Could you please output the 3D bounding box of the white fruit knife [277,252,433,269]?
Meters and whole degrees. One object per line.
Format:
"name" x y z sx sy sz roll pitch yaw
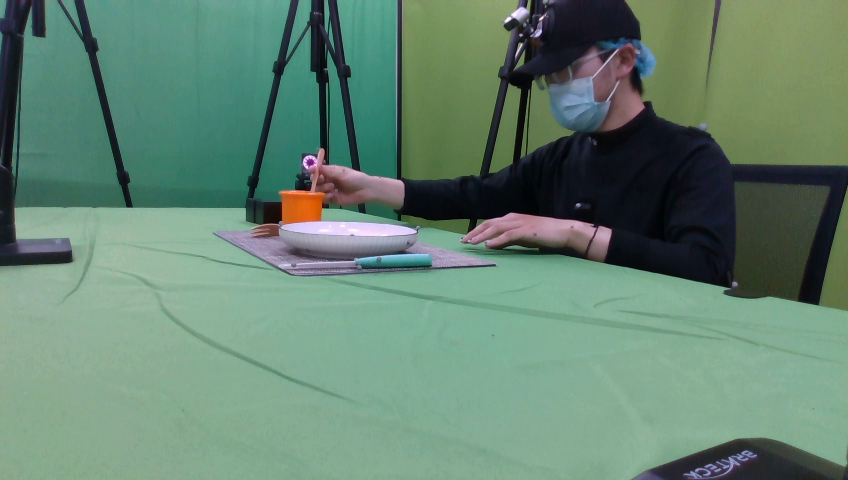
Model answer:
"white fruit knife" -0.082 0.029 0.772 0.208 0.016 0.027 -3 -20 -22

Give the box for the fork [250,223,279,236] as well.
"fork" -0.194 -0.014 1.051 0.208 0.028 0.018 3 38 -14

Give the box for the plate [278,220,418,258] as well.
"plate" -0.114 -0.002 0.914 0.209 0.038 0.209 2 7 0

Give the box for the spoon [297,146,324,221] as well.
"spoon" -0.227 -0.117 1.250 0.041 0.193 0.021 6 -26 2
